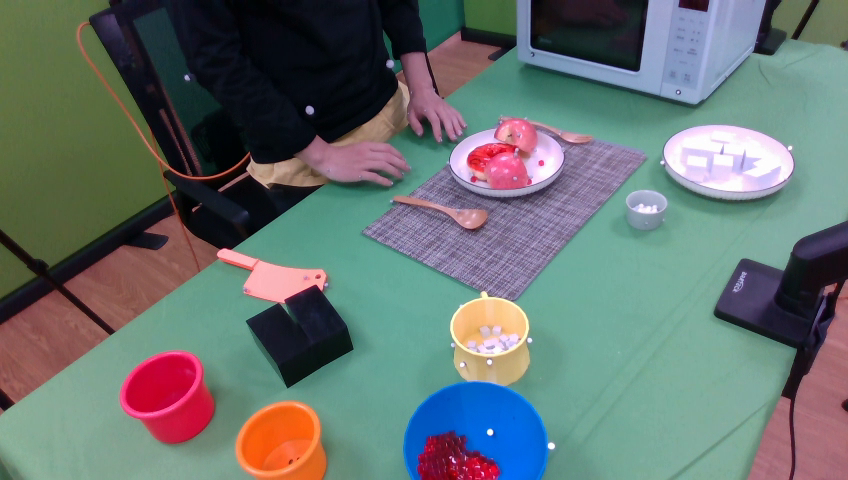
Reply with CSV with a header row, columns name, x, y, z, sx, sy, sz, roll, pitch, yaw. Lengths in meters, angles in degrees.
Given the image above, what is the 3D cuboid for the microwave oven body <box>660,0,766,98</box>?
name,x,y,z,sx,sy,sz,roll,pitch,yaw
microwave oven body,0.472,-0.513,1.317,0.438,0.261,0.327,26,51,34

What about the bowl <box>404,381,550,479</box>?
name,x,y,z,sx,sy,sz,roll,pitch,yaw
bowl,0.058,0.235,0.645,0.151,0.077,0.150,-4,39,4

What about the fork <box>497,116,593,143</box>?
name,x,y,z,sx,sy,sz,roll,pitch,yaw
fork,0.235,-0.220,1.195,0.206,0.019,0.028,23,55,28

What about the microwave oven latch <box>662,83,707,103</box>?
name,x,y,z,sx,sy,sz,roll,pitch,yaw
microwave oven latch,0.517,-0.296,1.204,0.078,0.029,0.030,27,52,35

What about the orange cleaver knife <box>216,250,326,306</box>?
name,x,y,z,sx,sy,sz,roll,pitch,yaw
orange cleaver knife,-0.248,0.058,0.945,0.210,0.012,0.077,12,49,20

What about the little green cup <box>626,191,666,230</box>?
name,x,y,z,sx,sy,sz,roll,pitch,yaw
little green cup,0.352,-0.046,0.963,0.061,0.039,0.061,-4,40,4

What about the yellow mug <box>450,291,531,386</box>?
name,x,y,z,sx,sy,sz,roll,pitch,yaw
yellow mug,0.085,0.120,0.786,0.100,0.064,0.130,-7,39,1

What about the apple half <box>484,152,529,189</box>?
name,x,y,z,sx,sy,sz,roll,pitch,yaw
apple half,0.144,-0.116,1.032,0.081,0.033,0.081,3,77,-11

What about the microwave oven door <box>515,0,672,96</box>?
name,x,y,z,sx,sy,sz,roll,pitch,yaw
microwave oven door,0.343,-0.454,1.259,0.353,0.245,0.039,26,51,33

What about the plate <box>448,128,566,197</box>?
name,x,y,z,sx,sy,sz,roll,pitch,yaw
plate,0.150,-0.138,1.096,0.209,0.038,0.208,-4,40,4

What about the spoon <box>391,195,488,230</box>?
name,x,y,z,sx,sy,sz,roll,pitch,yaw
spoon,0.023,-0.054,1.029,0.192,0.022,0.041,18,69,27

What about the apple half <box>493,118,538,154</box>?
name,x,y,z,sx,sy,sz,roll,pitch,yaw
apple half,0.175,-0.196,1.113,0.080,0.053,0.075,29,12,34

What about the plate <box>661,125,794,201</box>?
name,x,y,z,sx,sy,sz,roll,pitch,yaw
plate,0.513,-0.128,1.035,0.207,0.039,0.206,-4,40,4

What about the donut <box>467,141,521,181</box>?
name,x,y,z,sx,sy,sz,roll,pitch,yaw
donut,0.126,-0.144,1.090,0.099,0.048,0.098,-6,38,5
